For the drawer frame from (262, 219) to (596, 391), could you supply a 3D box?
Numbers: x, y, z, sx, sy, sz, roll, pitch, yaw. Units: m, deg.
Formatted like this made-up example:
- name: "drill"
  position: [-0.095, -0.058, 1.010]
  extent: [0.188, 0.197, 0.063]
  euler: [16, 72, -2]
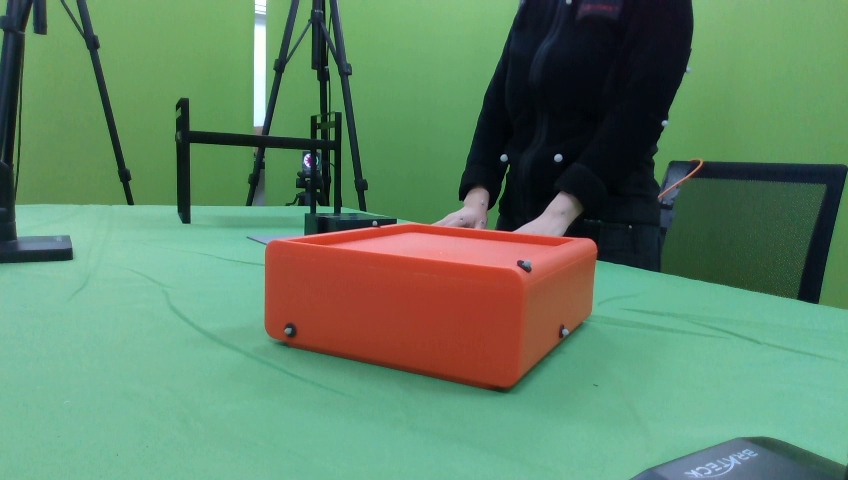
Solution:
- name: "drawer frame"
  position: [0.017, 0.036, 0.495]
  extent: [0.201, 0.082, 0.214]
  euler: [6, 9, 26]

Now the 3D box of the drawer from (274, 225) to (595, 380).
- name: "drawer"
  position: [0.019, 0.038, 0.498]
  extent: [0.194, 0.073, 0.212]
  euler: [7, 9, 27]

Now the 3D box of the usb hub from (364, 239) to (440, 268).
- name: "usb hub"
  position: [-0.028, 0.017, 0.829]
  extent: [0.049, 0.025, 0.126]
  euler: [5, 7, 29]
